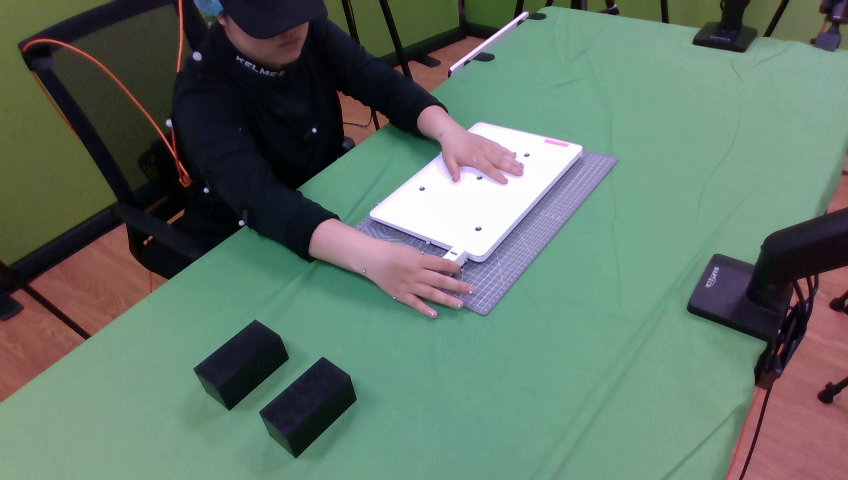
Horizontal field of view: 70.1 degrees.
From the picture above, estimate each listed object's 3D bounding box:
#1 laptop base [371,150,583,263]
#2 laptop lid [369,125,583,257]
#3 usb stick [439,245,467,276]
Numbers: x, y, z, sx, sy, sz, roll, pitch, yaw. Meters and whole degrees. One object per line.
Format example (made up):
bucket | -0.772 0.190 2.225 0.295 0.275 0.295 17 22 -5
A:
laptop base | 0.101 -0.096 1.071 0.233 0.023 0.355 19 47 33
laptop lid | 0.098 -0.105 1.066 0.239 0.013 0.358 21 47 33
usb stick | 0.048 0.027 0.912 0.021 0.027 0.059 27 44 28
